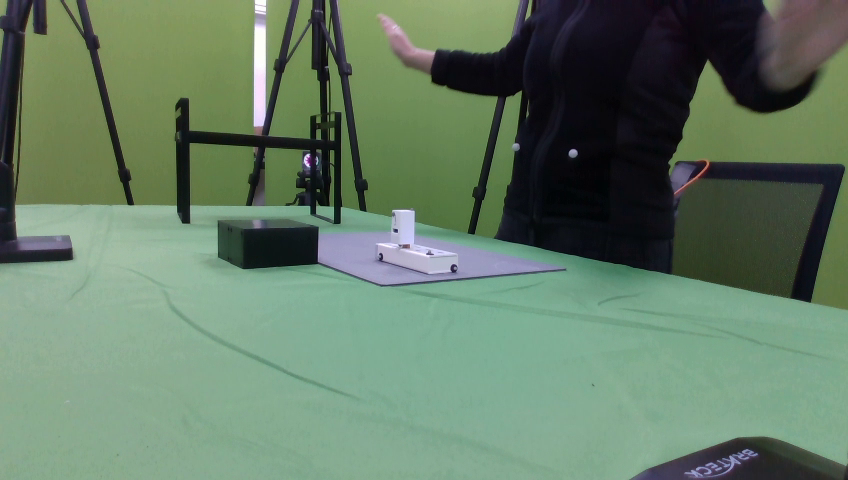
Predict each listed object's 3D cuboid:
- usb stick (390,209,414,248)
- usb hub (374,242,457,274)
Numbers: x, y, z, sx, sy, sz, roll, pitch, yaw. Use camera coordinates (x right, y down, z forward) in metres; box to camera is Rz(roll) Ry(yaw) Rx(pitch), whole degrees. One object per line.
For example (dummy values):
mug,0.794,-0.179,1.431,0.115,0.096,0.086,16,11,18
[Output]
usb stick,-0.029,-0.011,0.791,0.027,0.059,0.021,-7,13,-39
usb hub,-0.014,0.021,0.799,0.050,0.025,0.124,-4,9,-37
